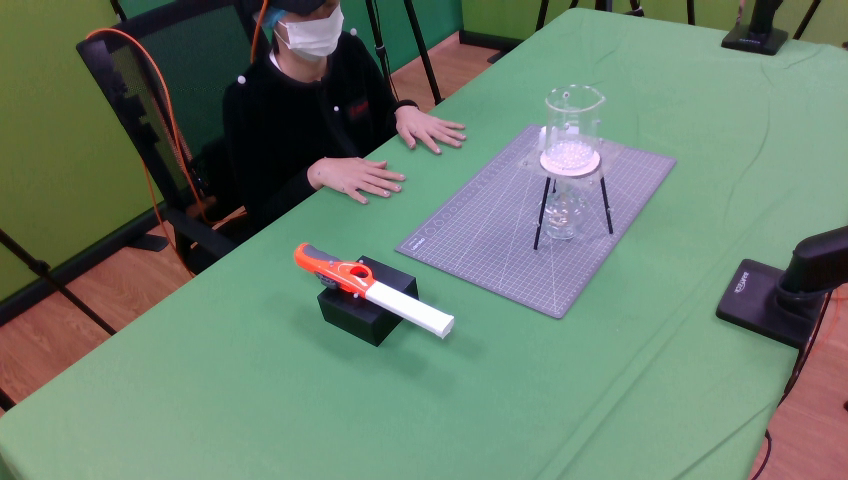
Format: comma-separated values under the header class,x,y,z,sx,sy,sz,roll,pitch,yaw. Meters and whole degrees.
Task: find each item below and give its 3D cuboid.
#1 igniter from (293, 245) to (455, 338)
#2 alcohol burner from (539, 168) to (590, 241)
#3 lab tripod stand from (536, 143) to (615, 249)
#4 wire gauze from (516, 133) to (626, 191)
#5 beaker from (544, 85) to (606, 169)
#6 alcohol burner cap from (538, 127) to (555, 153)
class,x,y,z,sx,sy,sz,roll,pitch,yaw
igniter,-0.079,0.065,0.833,0.274,0.025,0.057,23,48,27
alcohol burner,0.217,-0.059,0.935,0.078,0.119,0.077,-6,40,6
lab tripod stand,0.224,-0.069,0.931,0.148,0.132,0.147,-4,42,4
wire gauze,0.217,-0.122,0.893,0.124,0.011,0.122,20,47,32
beaker,0.212,-0.158,0.861,0.084,0.101,0.073,-3,41,6
alcohol burner cap,0.234,-0.191,1.147,0.034,0.048,0.033,-5,40,5
